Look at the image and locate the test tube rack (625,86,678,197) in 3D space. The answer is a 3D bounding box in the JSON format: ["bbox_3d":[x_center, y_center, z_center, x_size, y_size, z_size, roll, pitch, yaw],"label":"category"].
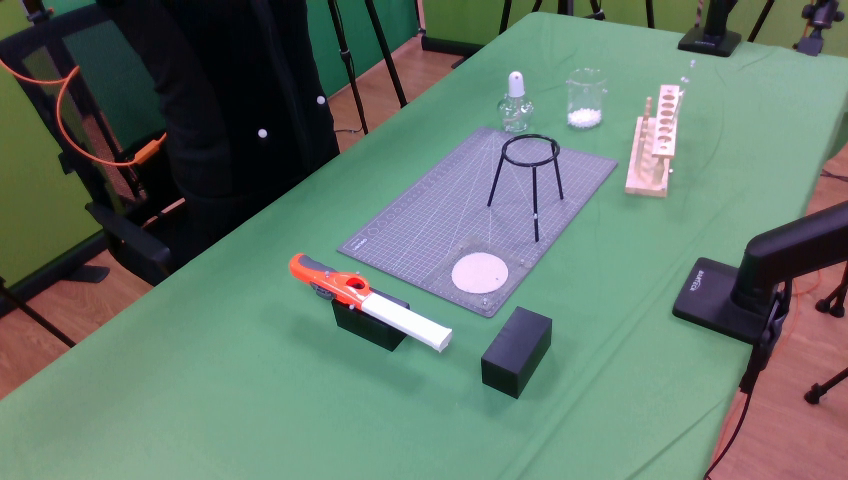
[{"bbox_3d":[0.412,-0.184,1.088,0.066,0.085,0.242,9,43,18],"label":"test tube rack"}]

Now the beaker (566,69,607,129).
[{"bbox_3d":[0.322,-0.280,1.202,0.073,0.101,0.084,11,43,20],"label":"beaker"}]

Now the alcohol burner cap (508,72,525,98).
[{"bbox_3d":[0.181,-0.306,1.186,0.034,0.048,0.033,-6,39,6],"label":"alcohol burner cap"}]

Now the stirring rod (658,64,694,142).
[{"bbox_3d":[0.409,-0.213,1.000,0.006,0.176,0.014,37,57,25],"label":"stirring rod"}]

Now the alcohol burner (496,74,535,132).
[{"bbox_3d":[0.183,-0.278,1.209,0.078,0.119,0.077,-3,43,4],"label":"alcohol burner"}]

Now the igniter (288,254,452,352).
[{"bbox_3d":[-0.083,0.079,0.818,0.274,0.025,0.057,23,46,27],"label":"igniter"}]

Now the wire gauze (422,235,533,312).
[{"bbox_3d":[0.081,0.049,0.914,0.120,0.011,0.125,26,52,32],"label":"wire gauze"}]

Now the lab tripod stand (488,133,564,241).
[{"bbox_3d":[0.168,-0.093,0.972,0.148,0.132,0.147,-5,41,5],"label":"lab tripod stand"}]
